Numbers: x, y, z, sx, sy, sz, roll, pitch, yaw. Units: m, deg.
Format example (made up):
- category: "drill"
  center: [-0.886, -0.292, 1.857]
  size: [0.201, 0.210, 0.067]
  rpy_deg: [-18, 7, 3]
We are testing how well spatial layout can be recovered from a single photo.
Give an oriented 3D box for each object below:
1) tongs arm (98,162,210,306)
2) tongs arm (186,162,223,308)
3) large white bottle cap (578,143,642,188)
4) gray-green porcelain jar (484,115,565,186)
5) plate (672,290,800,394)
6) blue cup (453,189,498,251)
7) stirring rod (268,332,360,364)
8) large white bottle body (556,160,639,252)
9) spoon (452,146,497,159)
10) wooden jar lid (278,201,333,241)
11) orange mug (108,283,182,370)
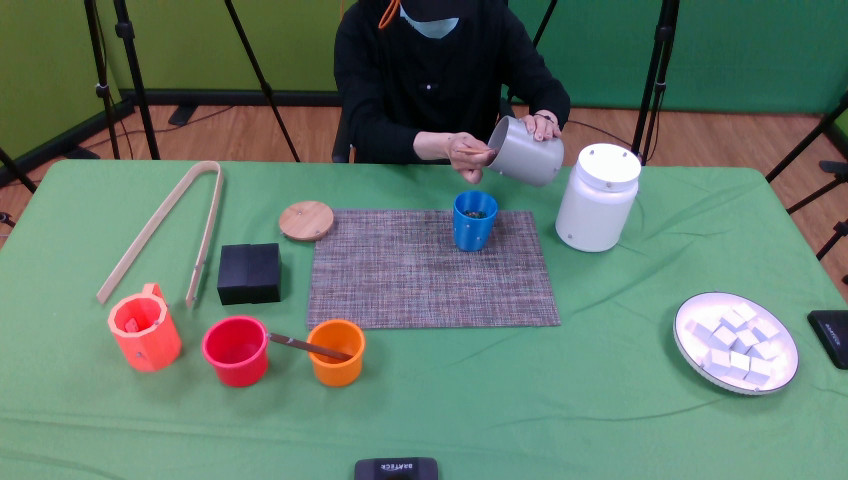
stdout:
- category: "tongs arm"
  center: [-0.519, -0.026, 1.185]
  size: [0.028, 0.028, 0.385]
  rpy_deg: [4, 46, 14]
- category: "tongs arm"
  center: [-0.435, -0.025, 1.180]
  size: [0.051, 0.027, 0.382]
  rpy_deg: [-4, 46, 1]
- category: "large white bottle cap"
  center: [0.344, -0.139, 1.123]
  size: [0.115, 0.018, 0.114]
  rpy_deg: [2, 46, -2]
- category: "gray-green porcelain jar"
  center: [0.194, -0.166, 1.151]
  size: [0.127, 0.106, 0.105]
  rpy_deg: [20, 45, -12]
- category: "plate"
  center: [0.533, 0.178, 1.050]
  size: [0.208, 0.039, 0.206]
  rpy_deg: [2, 46, -2]
- category: "blue cup"
  center: [0.093, -0.033, 1.173]
  size: [0.093, 0.101, 0.092]
  rpy_deg: [3, 46, -3]
- category: "stirring rod"
  center: [-0.167, 0.169, 0.942]
  size: [0.177, 0.006, 0.014]
  rpy_deg: [26, 26, -41]
- category: "large white bottle body"
  center: [0.340, -0.081, 1.185]
  size: [0.131, 0.185, 0.130]
  rpy_deg: [2, 46, -1]
- category: "spoon"
  center: [0.144, -0.151, 1.151]
  size: [0.194, 0.022, 0.041]
  rpy_deg: [17, 39, -18]
- category: "wooden jar lid"
  center: [-0.236, -0.036, 1.213]
  size: [0.108, 0.021, 0.107]
  rpy_deg: [0, 47, 0]
- category: "orange mug"
  center: [-0.445, 0.133, 0.983]
  size: [0.083, 0.101, 0.125]
  rpy_deg: [-1, 50, -5]
